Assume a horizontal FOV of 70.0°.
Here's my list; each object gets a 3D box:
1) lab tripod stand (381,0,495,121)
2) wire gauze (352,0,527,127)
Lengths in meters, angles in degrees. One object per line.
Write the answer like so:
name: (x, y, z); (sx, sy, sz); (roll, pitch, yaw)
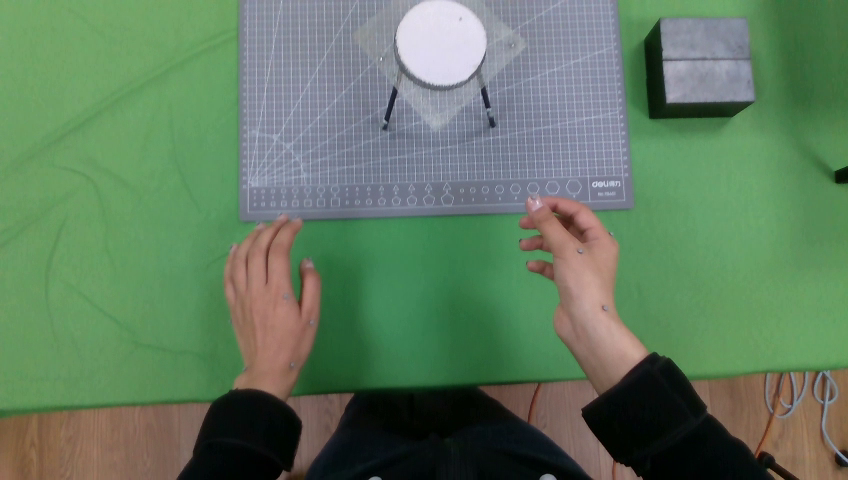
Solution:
lab tripod stand: (0.018, -0.183, 0.642); (0.148, 0.132, 0.148); (0, 81, -3)
wire gauze: (0.015, -0.192, 0.575); (0.121, 0.011, 0.125); (-42, 86, -6)
